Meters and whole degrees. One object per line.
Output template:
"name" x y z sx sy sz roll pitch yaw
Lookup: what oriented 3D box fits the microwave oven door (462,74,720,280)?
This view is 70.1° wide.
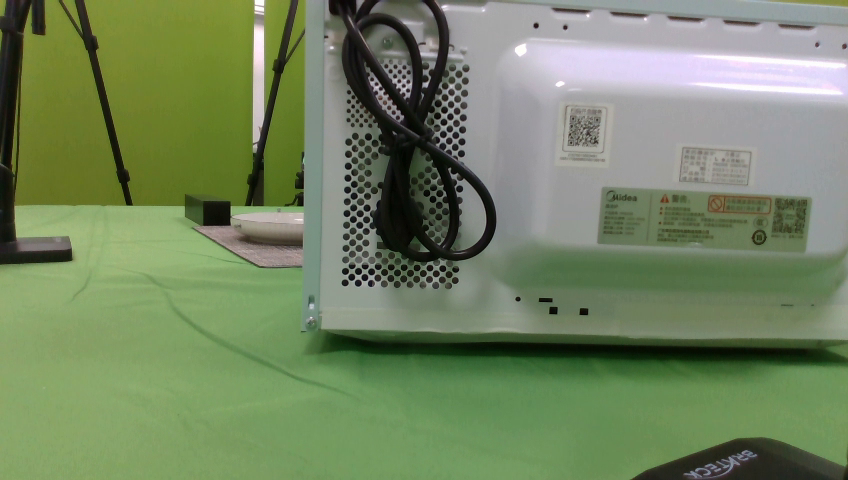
"microwave oven door" 0.203 -0.092 0.825 0.354 0.243 0.039 9 10 43

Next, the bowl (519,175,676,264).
"bowl" 0.169 -0.022 0.609 0.151 0.077 0.151 1 11 0

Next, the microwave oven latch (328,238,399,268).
"microwave oven latch" -0.069 0.015 0.694 0.079 0.029 0.030 3 7 -3

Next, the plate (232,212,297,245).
"plate" -0.214 -0.019 1.018 0.208 0.039 0.207 2 7 0

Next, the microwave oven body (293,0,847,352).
"microwave oven body" 0.122 -0.055 0.550 0.442 0.260 0.325 3 7 -5
